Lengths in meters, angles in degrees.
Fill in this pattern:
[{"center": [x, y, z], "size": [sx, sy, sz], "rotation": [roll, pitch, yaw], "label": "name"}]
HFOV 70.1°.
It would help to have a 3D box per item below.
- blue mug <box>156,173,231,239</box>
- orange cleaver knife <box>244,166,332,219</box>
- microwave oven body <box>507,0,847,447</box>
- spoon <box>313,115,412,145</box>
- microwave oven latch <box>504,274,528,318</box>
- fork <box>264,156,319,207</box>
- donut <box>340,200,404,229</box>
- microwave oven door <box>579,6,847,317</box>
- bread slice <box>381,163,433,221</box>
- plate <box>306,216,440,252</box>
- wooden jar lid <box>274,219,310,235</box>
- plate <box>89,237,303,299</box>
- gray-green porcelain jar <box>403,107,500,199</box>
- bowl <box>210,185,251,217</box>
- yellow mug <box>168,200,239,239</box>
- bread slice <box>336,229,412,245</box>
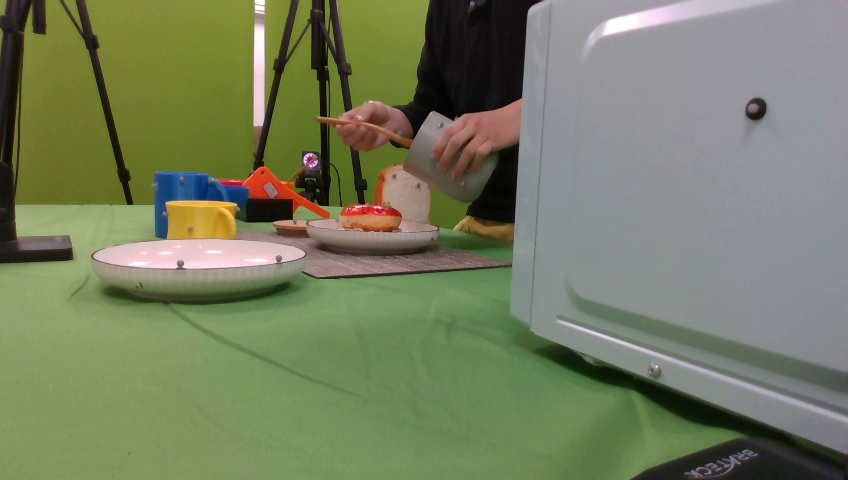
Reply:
[{"center": [-0.381, -0.057, 1.004], "size": [0.117, 0.106, 0.082], "rotation": [0, 8, -12], "label": "blue mug"}, {"center": [-0.301, -0.089, 1.351], "size": [0.212, 0.077, 0.012], "rotation": [32, -11, -34], "label": "orange cleaver knife"}, {"center": [0.331, -0.042, 0.425], "size": [0.444, 0.260, 0.324], "rotation": [-2, 8, -31], "label": "microwave oven body"}, {"center": [-0.084, -0.176, 0.953], "size": [0.193, 0.021, 0.041], "rotation": [17, 9, 8], "label": "spoon"}, {"center": [0.100, 0.041, 0.471], "size": [0.079, 0.029, 0.030], "rotation": [-1, 8, -28], "label": "microwave oven latch"}, {"center": [-0.331, -0.144, 1.506], "size": [0.207, 0.018, 0.028], "rotation": [-42, -20, 22], "label": "fork"}, {"center": [-0.081, -0.038, 0.944], "size": [0.099, 0.048, 0.099], "rotation": [1, 4, 0], "label": "donut"}, {"center": [0.294, -0.067, 0.570], "size": [0.358, 0.243, 0.039], "rotation": [-3, 9, -31], "label": "microwave oven door"}, {"center": [-0.035, -0.076, 1.124], "size": [0.107, 0.134, 0.018], "rotation": [-4, 1, -25], "label": "bread slice"}, {"center": [-0.079, -0.011, 0.950], "size": [0.209, 0.038, 0.209], "rotation": [2, 8, 0], "label": "plate"}, {"center": [-0.213, -0.023, 1.080], "size": [0.108, 0.020, 0.108], "rotation": [3, 7, 0], "label": "wooden jar lid"}, {"center": [-0.233, 0.029, 0.637], "size": [0.208, 0.039, 0.207], "rotation": [2, 7, 0], "label": "plate"}, {"center": [0.046, -0.131, 0.941], "size": [0.126, 0.105, 0.106], "rotation": [28, 9, 2], "label": "gray-green porcelain jar"}, {"center": [-0.408, -0.064, 1.155], "size": [0.151, 0.077, 0.151], "rotation": [2, 8, 0], "label": "bowl"}, {"center": [-0.319, -0.023, 0.904], "size": [0.130, 0.064, 0.100], "rotation": [9, 11, 36], "label": "yellow mug"}, {"center": [-0.074, -0.006, 0.938], "size": [0.105, 0.019, 0.131], "rotation": [-2, 5, -18], "label": "bread slice"}]
